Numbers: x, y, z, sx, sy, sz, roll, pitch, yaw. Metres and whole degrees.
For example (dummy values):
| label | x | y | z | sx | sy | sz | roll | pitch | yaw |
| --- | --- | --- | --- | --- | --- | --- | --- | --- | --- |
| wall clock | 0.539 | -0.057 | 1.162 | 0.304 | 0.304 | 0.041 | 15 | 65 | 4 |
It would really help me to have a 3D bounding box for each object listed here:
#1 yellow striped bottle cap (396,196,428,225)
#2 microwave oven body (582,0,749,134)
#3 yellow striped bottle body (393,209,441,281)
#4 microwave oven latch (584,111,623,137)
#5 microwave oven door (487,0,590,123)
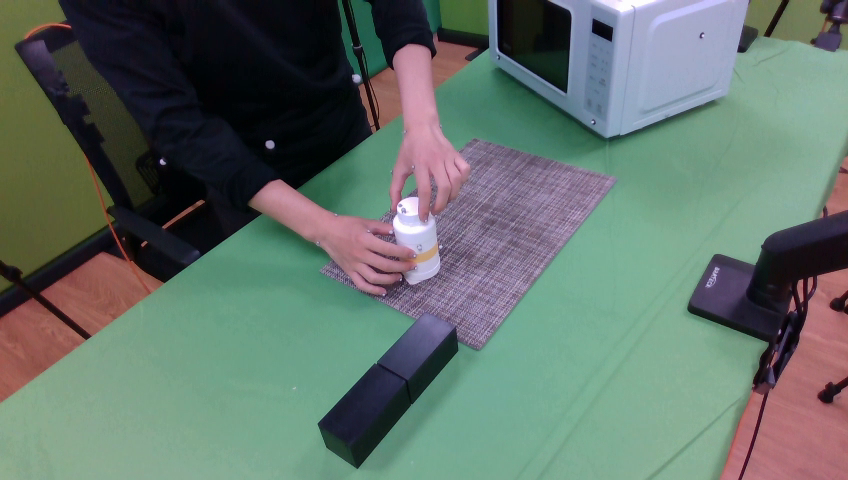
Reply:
| label | x | y | z | sx | sy | sz | roll | pitch | yaw |
| --- | --- | --- | --- | --- | --- | --- | --- | --- | --- |
| yellow striped bottle cap | -0.017 | -0.042 | 0.858 | 0.044 | 0.019 | 0.044 | -2 | 44 | 3 |
| microwave oven body | 0.382 | -0.444 | 1.246 | 0.327 | 0.261 | 0.437 | -22 | 42 | -16 |
| yellow striped bottle body | -0.011 | -0.002 | 0.892 | 0.063 | 0.121 | 0.062 | -4 | 41 | 4 |
| microwave oven latch | 0.337 | -0.222 | 1.142 | 0.030 | 0.029 | 0.078 | -21 | 42 | -14 |
| microwave oven door | 0.232 | -0.420 | 1.230 | 0.039 | 0.245 | 0.352 | -22 | 43 | -16 |
